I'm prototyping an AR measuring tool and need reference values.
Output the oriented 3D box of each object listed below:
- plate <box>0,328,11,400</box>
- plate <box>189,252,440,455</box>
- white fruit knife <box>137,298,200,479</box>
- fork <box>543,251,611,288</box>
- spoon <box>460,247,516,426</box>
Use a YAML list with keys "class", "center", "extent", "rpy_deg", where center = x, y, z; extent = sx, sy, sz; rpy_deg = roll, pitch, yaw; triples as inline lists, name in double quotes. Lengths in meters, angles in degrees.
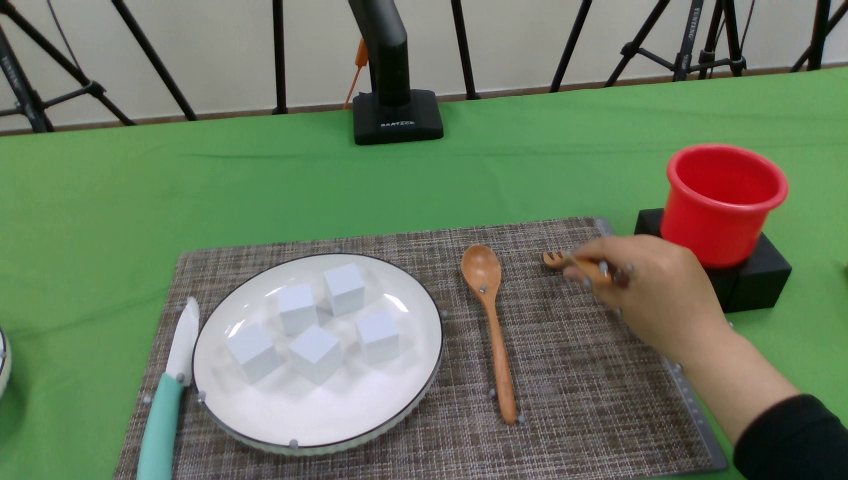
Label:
- class: "plate"
  center: [-0.446, 0.138, 0.489]
  extent: [0.209, 0.038, 0.207]
  rpy_deg: [-1, 41, 1]
- class: "plate"
  center: [-0.090, 0.094, 0.521]
  extent: [0.208, 0.039, 0.205]
  rpy_deg: [-1, 41, 1]
- class: "white fruit knife"
  center: [-0.211, 0.122, 0.512]
  extent: [0.027, 0.016, 0.205]
  rpy_deg: [17, 34, -22]
- class: "fork"
  center: [0.130, 0.023, 0.527]
  extent: [0.028, 0.018, 0.207]
  rpy_deg: [-7, 1, 3]
- class: "spoon"
  center: [0.060, 0.077, 0.544]
  extent: [0.042, 0.022, 0.191]
  rpy_deg: [10, 39, -14]
